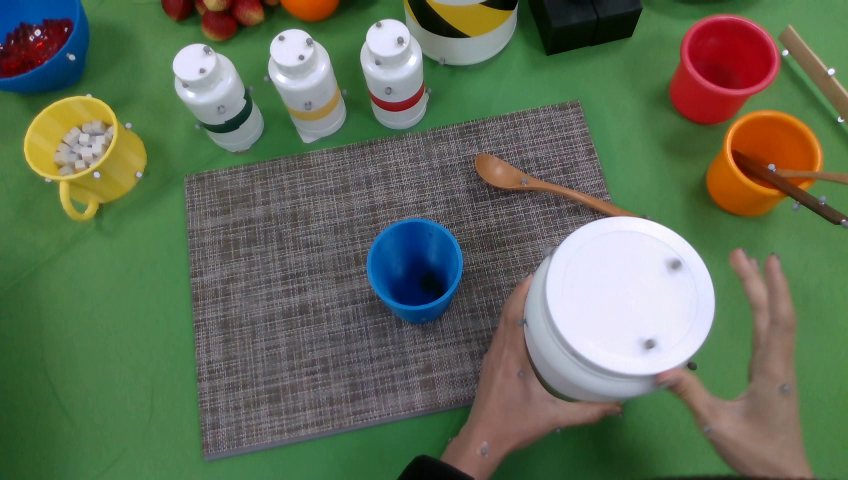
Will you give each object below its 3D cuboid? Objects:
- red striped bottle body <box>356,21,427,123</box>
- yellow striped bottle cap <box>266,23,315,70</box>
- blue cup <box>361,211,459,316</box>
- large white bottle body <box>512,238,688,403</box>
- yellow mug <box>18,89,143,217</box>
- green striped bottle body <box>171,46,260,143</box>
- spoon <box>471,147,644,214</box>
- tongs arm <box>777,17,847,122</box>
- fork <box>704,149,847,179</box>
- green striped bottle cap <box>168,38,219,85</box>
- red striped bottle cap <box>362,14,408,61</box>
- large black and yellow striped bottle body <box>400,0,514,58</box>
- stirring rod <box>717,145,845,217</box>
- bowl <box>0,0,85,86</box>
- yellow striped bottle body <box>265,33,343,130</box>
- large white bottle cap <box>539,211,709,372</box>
[{"bbox_3d":[-0.033,-0.180,0.637,0.063,0.120,0.062,-2,70,7],"label":"red striped bottle body"},{"bbox_3d":[-0.130,-0.189,0.590,0.044,0.019,0.044,0,73,2],"label":"yellow striped bottle cap"},{"bbox_3d":[-0.011,0.031,0.571,0.092,0.101,0.092,0,70,1],"label":"blue cup"},{"bbox_3d":[0.145,0.064,0.508,0.130,0.186,0.129,-1,70,3],"label":"large white bottle body"},{"bbox_3d":[-0.368,-0.088,0.651,0.100,0.064,0.130,-2,72,2],"label":"yellow mug"},{"bbox_3d":[-0.220,-0.157,0.638,0.063,0.120,0.063,-1,71,3],"label":"green striped bottle body"},{"bbox_3d":[0.140,-0.056,0.635,0.193,0.022,0.041,19,48,8],"label":"spoon"},{"bbox_3d":[0.500,-0.087,0.625,0.051,0.027,0.382,-23,73,-7],"label":"tongs arm"},{"bbox_3d":[0.360,-0.064,0.565,0.028,0.019,0.205,-51,32,-12],"label":"fork"},{"bbox_3d":[-0.224,-0.174,0.589,0.044,0.020,0.044,-1,70,2],"label":"green striped bottle cap"},{"bbox_3d":[-0.038,-0.198,0.588,0.044,0.018,0.044,1,69,-1],"label":"red striped bottle cap"},{"bbox_3d":[0.035,-0.298,0.640,0.131,0.185,0.130,-1,71,3],"label":"large black and yellow striped bottle body"},{"bbox_3d":[0.329,-0.060,0.572,0.014,0.006,0.174,-9,28,-3],"label":"stirring rod"},{"bbox_3d":[-0.454,-0.233,0.696,0.151,0.077,0.150,0,71,2],"label":"bowl"},{"bbox_3d":[-0.127,-0.172,0.639,0.063,0.121,0.062,-1,71,4],"label":"yellow striped bottle body"},{"bbox_3d":[0.139,0.034,0.424,0.115,0.018,0.114,-1,70,3],"label":"large white bottle cap"}]
